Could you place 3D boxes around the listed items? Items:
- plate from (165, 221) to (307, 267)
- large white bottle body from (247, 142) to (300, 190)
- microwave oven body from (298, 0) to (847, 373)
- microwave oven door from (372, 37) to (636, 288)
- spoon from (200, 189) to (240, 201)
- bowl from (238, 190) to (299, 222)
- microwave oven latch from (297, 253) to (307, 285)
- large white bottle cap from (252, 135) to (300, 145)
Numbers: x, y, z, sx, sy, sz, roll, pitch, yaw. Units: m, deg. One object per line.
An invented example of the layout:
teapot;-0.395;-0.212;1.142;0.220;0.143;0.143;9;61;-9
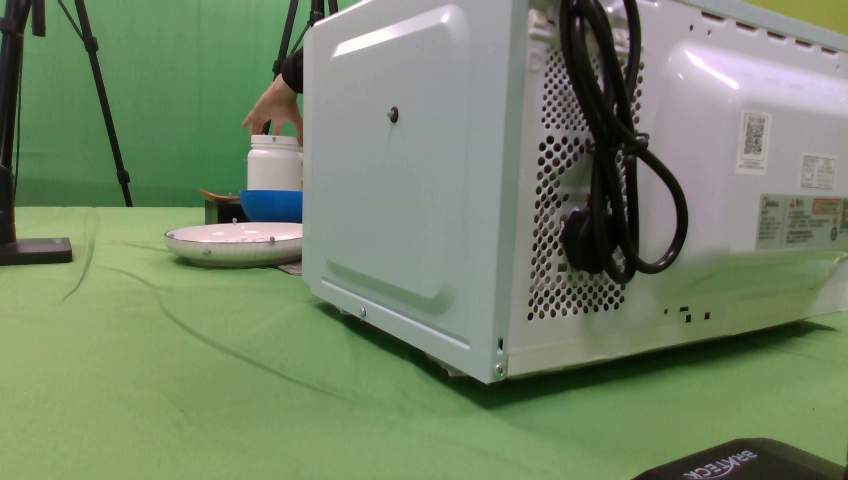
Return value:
plate;-0.241;0.004;0.829;0.209;0.038;0.209;0;9;0
large white bottle body;-0.341;-0.144;1.400;0.131;0.184;0.130;2;7;0
microwave oven body;0.151;-0.055;0.542;0.444;0.260;0.324;-2;7;-33
microwave oven door;0.109;-0.080;0.686;0.358;0.243;0.039;-2;9;-33
spoon;-0.339;-0.080;1.189;0.194;0.021;0.041;5;0;-19
bowl;-0.245;-0.045;1.052;0.151;0.077;0.151;2;7;0
microwave oven latch;-0.082;0.027;0.582;0.079;0.029;0.030;-1;7;-32
large white bottle cap;-0.337;-0.230;1.389;0.115;0.018;0.115;3;8;0
